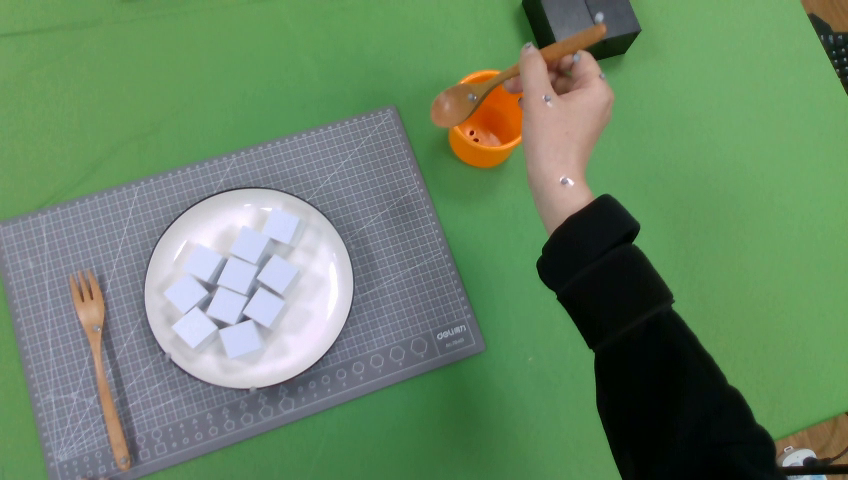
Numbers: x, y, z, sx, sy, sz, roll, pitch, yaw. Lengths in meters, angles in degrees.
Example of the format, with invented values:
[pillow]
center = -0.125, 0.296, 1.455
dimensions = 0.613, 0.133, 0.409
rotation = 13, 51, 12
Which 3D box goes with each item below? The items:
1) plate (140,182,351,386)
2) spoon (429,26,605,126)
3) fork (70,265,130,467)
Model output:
[plate]
center = -0.179, 0.044, 0.626
dimensions = 0.208, 0.039, 0.206
rotation = 1, 78, -4
[spoon]
center = 0.068, -0.137, 0.509
dimensions = 0.022, 0.193, 0.041
rotation = 11, 76, -34
[fork]
center = -0.323, 0.124, 0.607
dimensions = 0.028, 0.019, 0.206
rotation = -16, 78, -13
